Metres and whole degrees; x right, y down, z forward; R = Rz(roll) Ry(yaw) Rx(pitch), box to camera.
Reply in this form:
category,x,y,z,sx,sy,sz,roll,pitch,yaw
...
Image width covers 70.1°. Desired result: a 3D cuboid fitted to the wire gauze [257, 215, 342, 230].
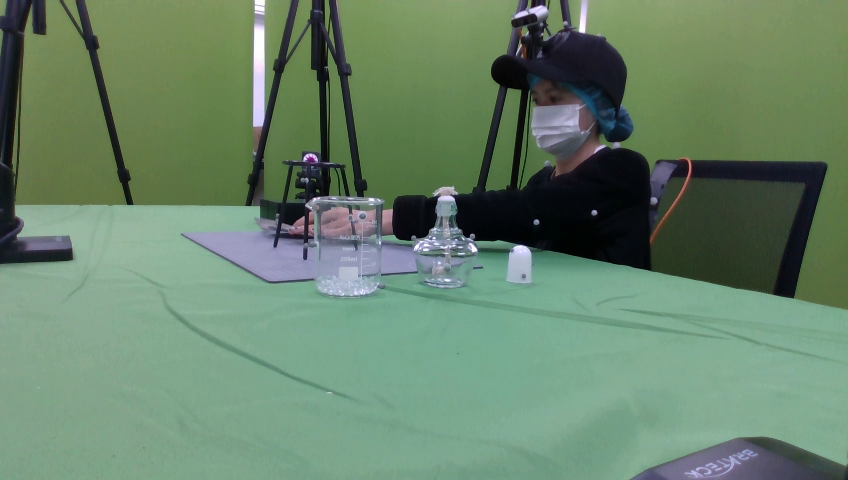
category,x,y,z,sx,sy,sz,roll,pitch,yaw
wire gauze,-0.222,-0.032,1.061,0.122,0.011,0.124,4,-9,-26

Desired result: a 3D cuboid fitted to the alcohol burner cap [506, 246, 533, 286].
category,x,y,z,sx,sy,sz,roll,pitch,yaw
alcohol burner cap,0.118,0.032,0.739,0.034,0.048,0.034,1,7,0

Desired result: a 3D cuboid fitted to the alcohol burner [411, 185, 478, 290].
category,x,y,z,sx,sy,sz,roll,pitch,yaw
alcohol burner,0.024,-0.004,0.697,0.078,0.119,0.078,0,7,0

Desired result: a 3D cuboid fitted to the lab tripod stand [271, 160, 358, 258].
category,x,y,z,sx,sy,sz,roll,pitch,yaw
lab tripod stand,-0.159,-0.048,0.876,0.148,0.131,0.148,3,5,0

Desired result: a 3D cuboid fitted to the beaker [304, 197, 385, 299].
category,x,y,z,sx,sy,sz,roll,pitch,yaw
beaker,-0.083,0.007,0.629,0.084,0.100,0.073,-1,7,-21
